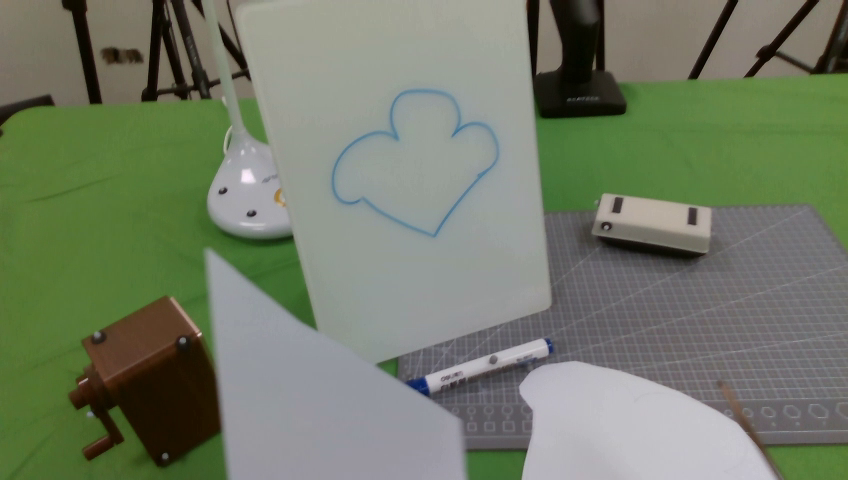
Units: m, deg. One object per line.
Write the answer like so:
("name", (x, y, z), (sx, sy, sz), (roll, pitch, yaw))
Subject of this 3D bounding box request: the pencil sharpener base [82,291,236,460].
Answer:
("pencil sharpener base", (-0.202, 0.106, 0.466), (0.077, 0.108, 0.061), (-31, 48, -28))

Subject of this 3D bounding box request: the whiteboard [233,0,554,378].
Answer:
("whiteboard", (-0.023, -0.069, 0.553), (0.217, 0.307, 0.142), (-15, 22, -12))

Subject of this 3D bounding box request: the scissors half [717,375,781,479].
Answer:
("scissors half", (0.209, 0.154, 0.332), (0.040, 0.013, 0.174), (-10, 69, -57))

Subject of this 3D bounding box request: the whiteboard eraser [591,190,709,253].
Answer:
("whiteboard eraser", (0.234, -0.018, 0.629), (0.112, 0.042, 0.055), (11, 43, 17))

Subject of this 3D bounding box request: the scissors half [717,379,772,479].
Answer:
("scissors half", (0.196, 0.153, 0.315), (0.013, 0.040, 0.173), (-33, 57, 26))

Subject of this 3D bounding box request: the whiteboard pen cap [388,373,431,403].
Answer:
("whiteboard pen cap", (-0.011, 0.121, 0.496), (0.033, 0.018, 0.018), (-16, 41, -13))

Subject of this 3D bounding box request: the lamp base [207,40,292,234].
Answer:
("lamp base", (-0.191, -0.123, 0.682), (0.177, 0.182, 0.160), (27, 49, 35))

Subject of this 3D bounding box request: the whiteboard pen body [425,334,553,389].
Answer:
("whiteboard pen body", (0.044, 0.105, 0.509), (0.141, 0.017, 0.017), (-15, 41, -12))

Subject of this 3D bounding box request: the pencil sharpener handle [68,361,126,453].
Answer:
("pencil sharpener handle", (-0.239, 0.121, 0.431), (0.030, 0.068, 0.035), (-31, 34, -28))
